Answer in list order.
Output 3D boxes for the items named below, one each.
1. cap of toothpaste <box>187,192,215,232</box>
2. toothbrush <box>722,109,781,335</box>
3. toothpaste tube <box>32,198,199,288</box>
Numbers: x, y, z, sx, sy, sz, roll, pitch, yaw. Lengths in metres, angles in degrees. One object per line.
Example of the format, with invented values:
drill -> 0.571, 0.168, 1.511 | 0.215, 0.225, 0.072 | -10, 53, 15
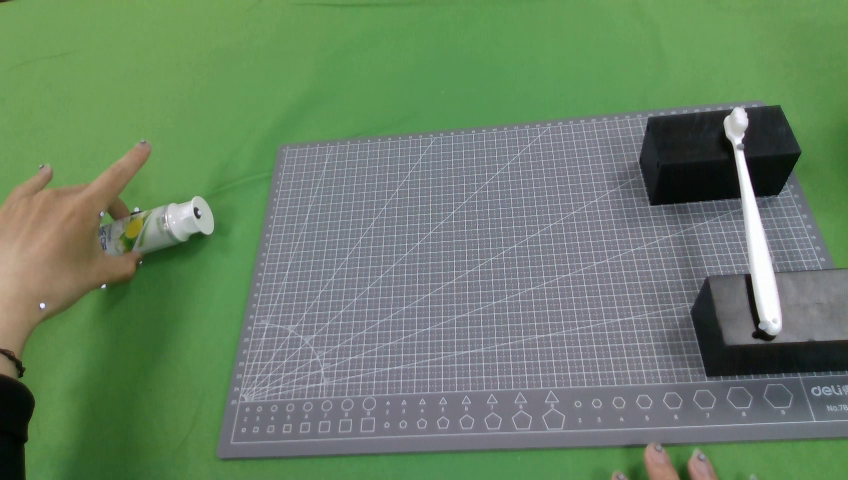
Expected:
cap of toothpaste -> -0.195, -0.024, 0.528 | 0.011, 0.038, 0.037 | -16, 54, 4
toothbrush -> 0.223, -0.020, 0.412 | 0.014, 0.017, 0.180 | 10, 59, -2
toothpaste tube -> -0.271, -0.004, 0.537 | 0.165, 0.035, 0.054 | -16, 58, 4
